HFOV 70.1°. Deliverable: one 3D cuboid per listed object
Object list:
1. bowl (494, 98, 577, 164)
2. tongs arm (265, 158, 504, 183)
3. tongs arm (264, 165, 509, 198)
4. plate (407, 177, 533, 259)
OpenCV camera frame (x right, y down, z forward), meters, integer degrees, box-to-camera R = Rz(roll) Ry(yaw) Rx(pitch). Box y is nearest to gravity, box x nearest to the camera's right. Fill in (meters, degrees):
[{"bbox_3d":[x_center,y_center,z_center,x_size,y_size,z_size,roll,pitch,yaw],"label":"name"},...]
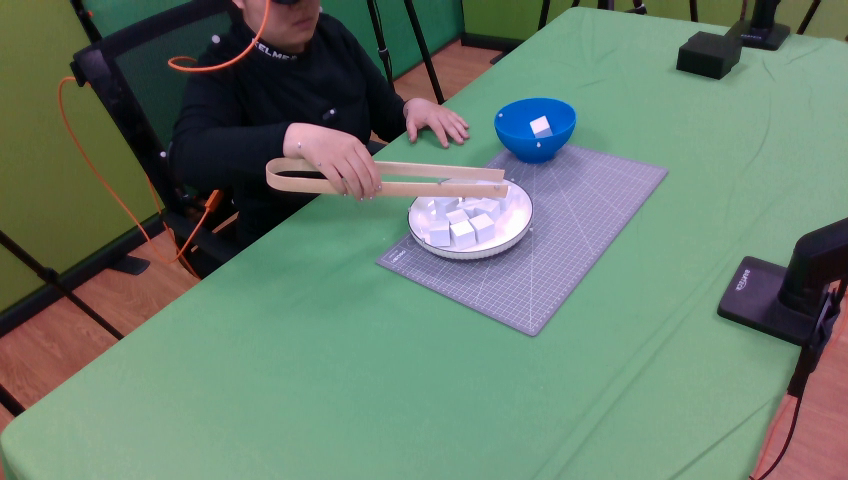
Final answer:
[{"bbox_3d":[0.207,-0.196,1.128,0.151,0.077,0.150,-5,40,5],"label":"bowl"},{"bbox_3d":[-0.058,-0.109,0.982,0.389,0.028,0.028,1,43,-10],"label":"tongs arm"},{"bbox_3d":[-0.055,-0.092,0.961,0.386,0.026,0.050,-1,40,-13],"label":"tongs arm"},{"bbox_3d":[0.076,-0.037,0.997,0.207,0.039,0.206,-5,40,5],"label":"plate"}]
